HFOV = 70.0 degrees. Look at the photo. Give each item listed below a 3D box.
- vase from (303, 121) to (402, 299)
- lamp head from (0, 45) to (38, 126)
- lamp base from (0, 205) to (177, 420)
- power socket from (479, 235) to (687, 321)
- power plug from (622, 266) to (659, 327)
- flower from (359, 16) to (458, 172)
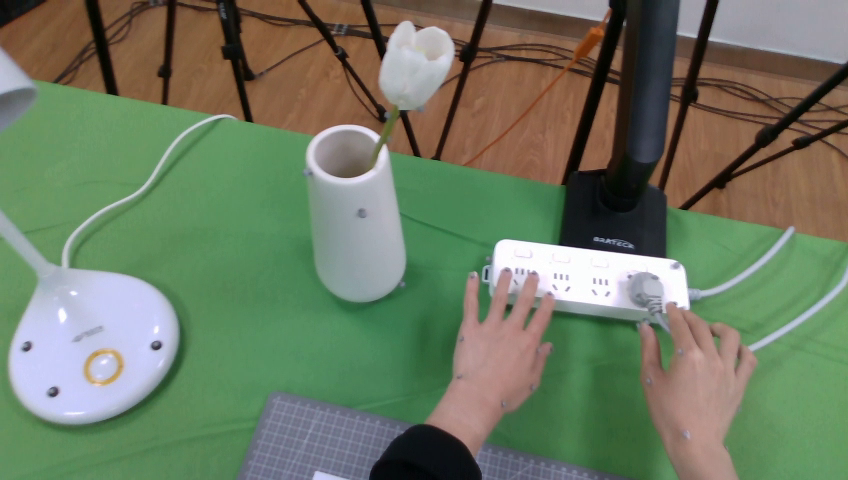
[{"bbox_3d":[-0.071,-0.024,0.597,0.098,0.201,0.097,1,56,0],"label":"vase"},{"bbox_3d":[-0.283,-0.094,0.299,0.112,0.112,0.123,-45,107,-26],"label":"lamp head"},{"bbox_3d":[-0.338,0.051,0.548,0.160,0.182,0.177,-37,62,-24],"label":"lamp base"},{"bbox_3d":[0.174,0.041,0.665,0.227,0.033,0.071,8,57,2],"label":"power socket"},{"bbox_3d":[0.221,0.060,0.628,0.035,0.053,0.072,17,64,9],"label":"power plug"},{"bbox_3d":[-0.052,-0.058,0.522,0.044,0.362,0.038,-25,78,-27],"label":"flower"}]
